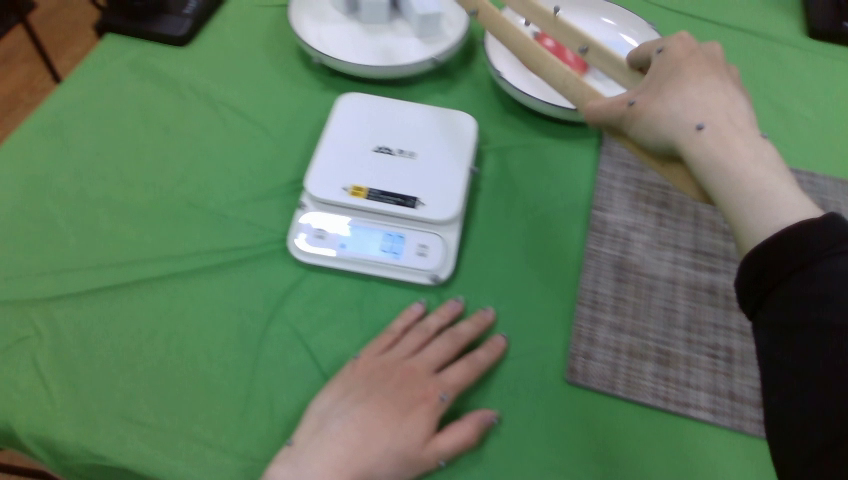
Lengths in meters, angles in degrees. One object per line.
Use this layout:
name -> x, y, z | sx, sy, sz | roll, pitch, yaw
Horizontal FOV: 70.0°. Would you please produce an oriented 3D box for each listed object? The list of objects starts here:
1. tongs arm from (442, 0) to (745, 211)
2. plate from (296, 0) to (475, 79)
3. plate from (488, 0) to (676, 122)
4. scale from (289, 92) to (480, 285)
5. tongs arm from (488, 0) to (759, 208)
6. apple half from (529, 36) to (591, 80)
tongs arm -> 0.116, -0.147, 0.535 | 0.028, 0.028, 0.383 | -16, 48, -26
plate -> -0.043, -0.254, 0.710 | 0.208, 0.039, 0.205 | 2, 54, -2
plate -> 0.175, -0.202, 0.685 | 0.209, 0.038, 0.207 | 2, 54, -2
scale -> -0.031, -0.056, 0.572 | 0.148, 0.032, 0.199 | 10, 55, 5
tongs arm -> 0.144, -0.156, 0.547 | 0.051, 0.027, 0.380 | -20, 50, -25
apple half -> 0.157, -0.215, 0.687 | 0.081, 0.033, 0.080 | 0, 51, 0
